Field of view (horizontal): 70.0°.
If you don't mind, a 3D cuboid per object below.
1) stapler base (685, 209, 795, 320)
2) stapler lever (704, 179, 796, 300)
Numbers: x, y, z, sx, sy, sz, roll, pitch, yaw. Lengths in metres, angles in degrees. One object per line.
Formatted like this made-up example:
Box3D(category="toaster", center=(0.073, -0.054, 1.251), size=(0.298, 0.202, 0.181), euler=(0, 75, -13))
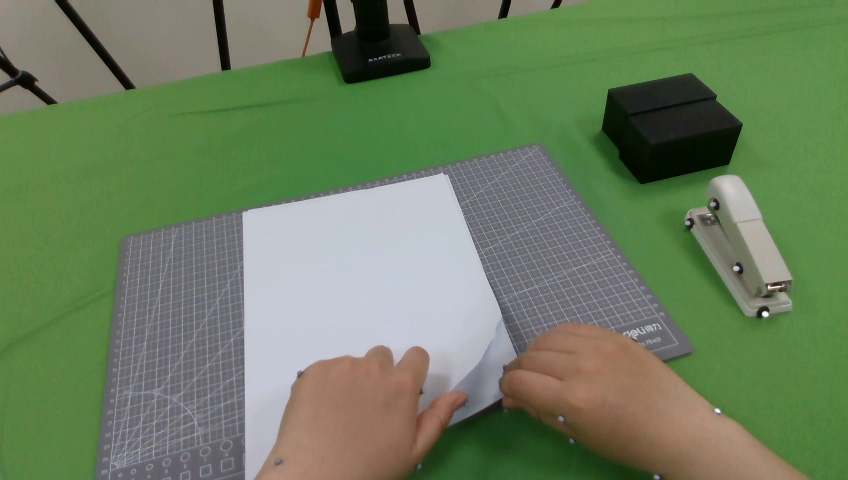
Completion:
Box3D(category="stapler base", center=(0.275, 0.012, 0.531), size=(0.041, 0.025, 0.129), euler=(-10, 46, -1))
Box3D(category="stapler lever", center=(0.273, -0.005, 0.512), size=(0.027, 0.040, 0.117), euler=(-10, 46, -1))
